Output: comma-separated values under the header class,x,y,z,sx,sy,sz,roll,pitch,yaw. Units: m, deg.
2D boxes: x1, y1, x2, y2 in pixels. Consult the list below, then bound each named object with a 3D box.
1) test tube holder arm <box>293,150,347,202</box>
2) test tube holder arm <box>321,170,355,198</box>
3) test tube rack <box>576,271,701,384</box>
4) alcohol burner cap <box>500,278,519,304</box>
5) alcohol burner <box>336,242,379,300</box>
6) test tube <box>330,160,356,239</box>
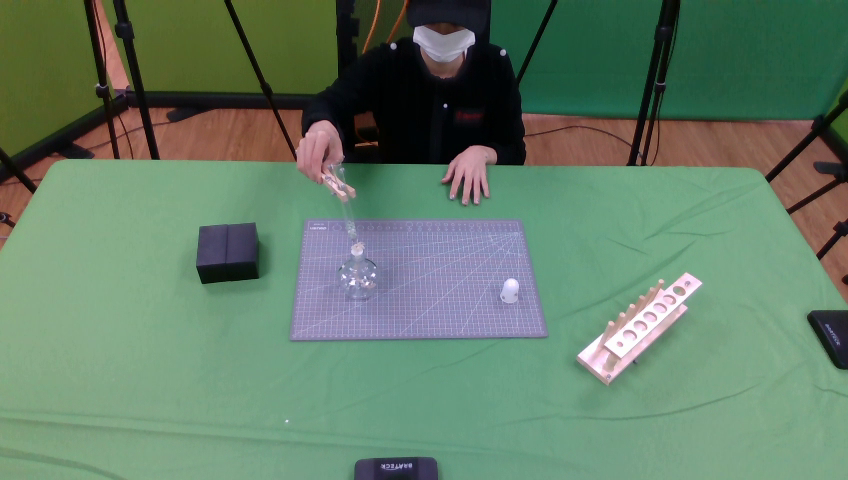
class,x,y,z,sx,sy,sz,roll,pitch,yaw
test tube holder arm,-0.173,-0.108,0.995,0.013,0.015,0.177,-27,44,-26
test tube holder arm,-0.141,-0.090,0.970,0.010,0.015,0.087,-33,47,-31
test tube rack,0.373,0.138,1.047,0.242,0.085,0.066,-31,56,-29
alcohol burner cap,0.157,0.090,1.104,0.034,0.048,0.033,2,46,-2
alcohol burner,-0.118,0.050,1.072,0.078,0.120,0.077,2,44,-1
test tube,-0.128,-0.061,0.967,0.017,0.151,0.017,-4,40,4
